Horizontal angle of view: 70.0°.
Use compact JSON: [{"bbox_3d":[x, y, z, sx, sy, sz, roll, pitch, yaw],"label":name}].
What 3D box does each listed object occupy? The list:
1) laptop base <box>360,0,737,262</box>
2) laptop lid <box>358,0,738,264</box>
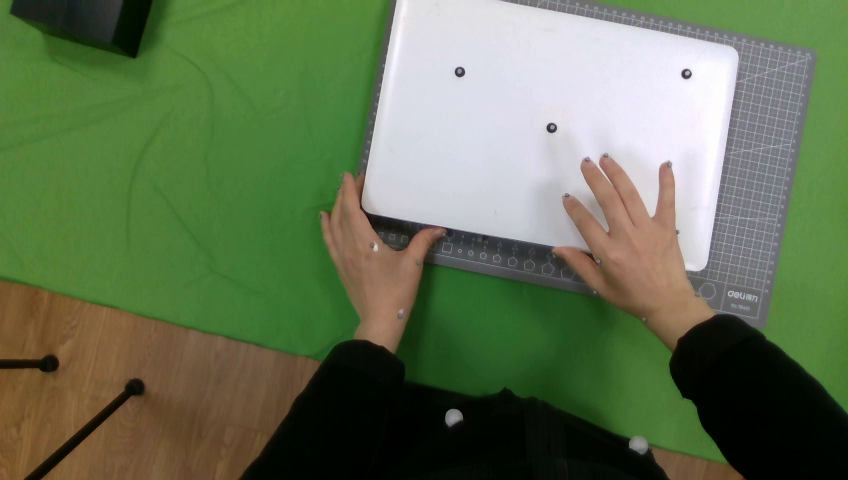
[{"bbox_3d":[0.126,-0.121,0.621,0.354,0.023,0.235,10,94,-2],"label":"laptop base"},{"bbox_3d":[0.126,-0.119,0.603,0.357,0.013,0.241,12,89,-2],"label":"laptop lid"}]
